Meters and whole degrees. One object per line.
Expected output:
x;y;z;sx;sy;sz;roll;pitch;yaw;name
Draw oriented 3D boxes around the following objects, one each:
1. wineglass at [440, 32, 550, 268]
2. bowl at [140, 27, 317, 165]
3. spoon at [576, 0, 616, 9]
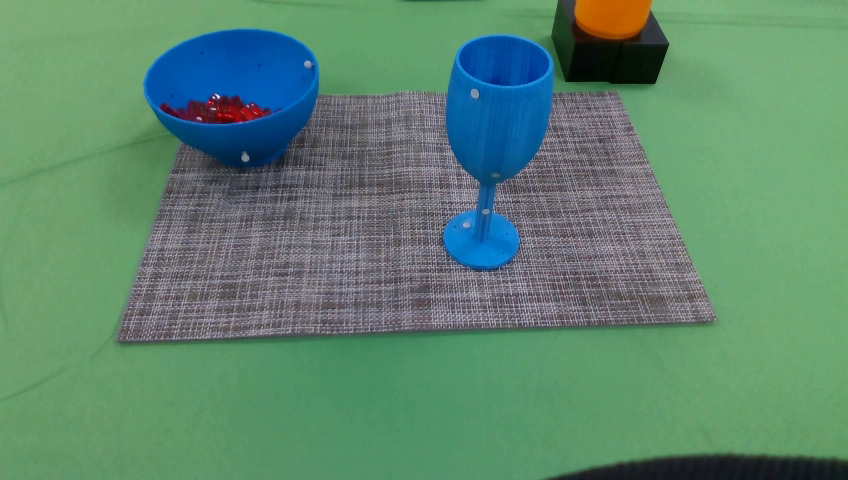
0.047;-0.058;0.448;0.074;0.174;0.073;1;49;-1;wineglass
-0.170;-0.123;0.559;0.151;0.077;0.150;1;49;-1;bowl
0.222;-0.265;0.591;0.041;0.193;0.022;-35;102;-24;spoon
